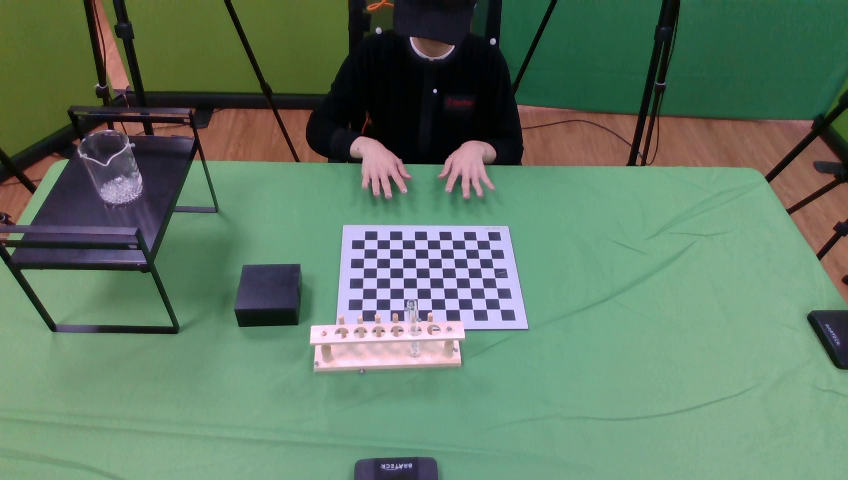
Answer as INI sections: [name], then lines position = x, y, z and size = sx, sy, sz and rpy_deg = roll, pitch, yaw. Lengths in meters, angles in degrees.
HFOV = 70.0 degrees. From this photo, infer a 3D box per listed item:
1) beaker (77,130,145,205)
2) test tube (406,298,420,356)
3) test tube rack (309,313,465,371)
[beaker]
position = -0.493, -0.111, 0.965
size = 0.074, 0.101, 0.083
rpy_deg = -14, 49, -16
[test tube]
position = -0.017, 0.139, 0.945
size = 0.017, 0.151, 0.017
rpy_deg = -1, 50, 1
[test tube rack]
position = -0.059, 0.161, 0.990
size = 0.242, 0.085, 0.066
rpy_deg = -1, 46, -5
